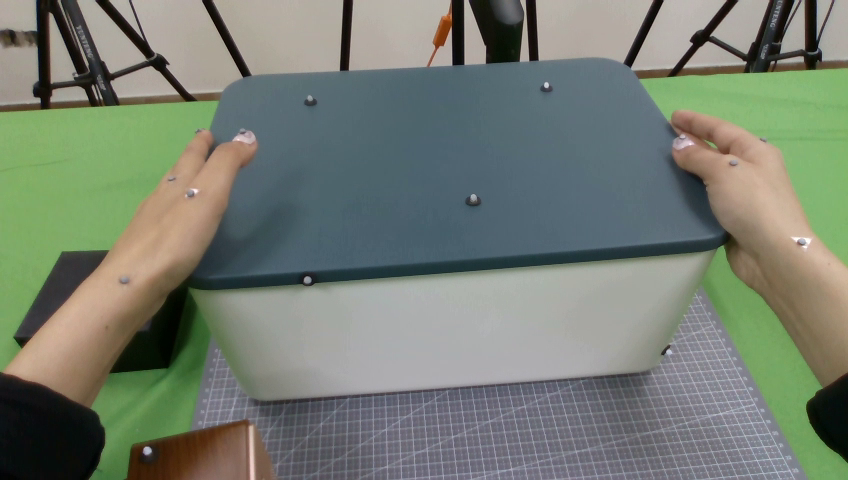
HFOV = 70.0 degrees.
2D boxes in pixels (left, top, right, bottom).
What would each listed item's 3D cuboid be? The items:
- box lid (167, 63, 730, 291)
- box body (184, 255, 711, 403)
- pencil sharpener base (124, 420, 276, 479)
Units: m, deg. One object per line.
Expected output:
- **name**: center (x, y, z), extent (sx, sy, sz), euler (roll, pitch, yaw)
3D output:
- **box lid**: center (0.010, -0.067, 0.471), extent (0.372, 0.015, 0.260), euler (-4, 42, -3)
- **box body**: center (0.014, -0.012, 0.521), extent (0.364, 0.162, 0.251), euler (-4, 43, -3)
- **pencil sharpener base**: center (-0.131, 0.168, 0.366), extent (0.077, 0.108, 0.060), euler (-10, 44, -9)
